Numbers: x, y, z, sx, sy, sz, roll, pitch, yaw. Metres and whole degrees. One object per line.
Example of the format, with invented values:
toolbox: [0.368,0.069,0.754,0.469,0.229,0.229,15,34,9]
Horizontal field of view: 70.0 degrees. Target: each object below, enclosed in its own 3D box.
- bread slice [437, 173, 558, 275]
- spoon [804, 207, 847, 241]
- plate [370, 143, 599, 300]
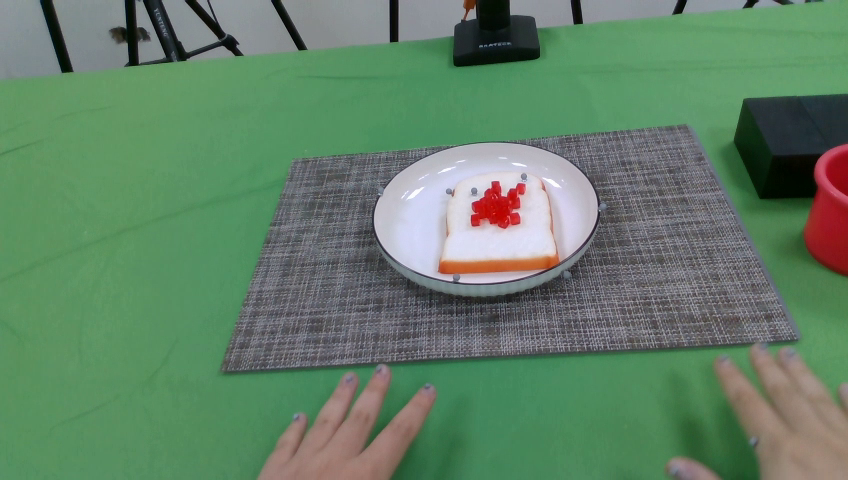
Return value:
bread slice: [0.067,-0.019,0.567,0.105,0.019,0.130,-2,43,7]
spoon: [0.390,-0.041,0.454,0.022,0.194,0.041,44,48,-11]
plate: [0.054,-0.019,0.567,0.209,0.038,0.207,-5,42,5]
